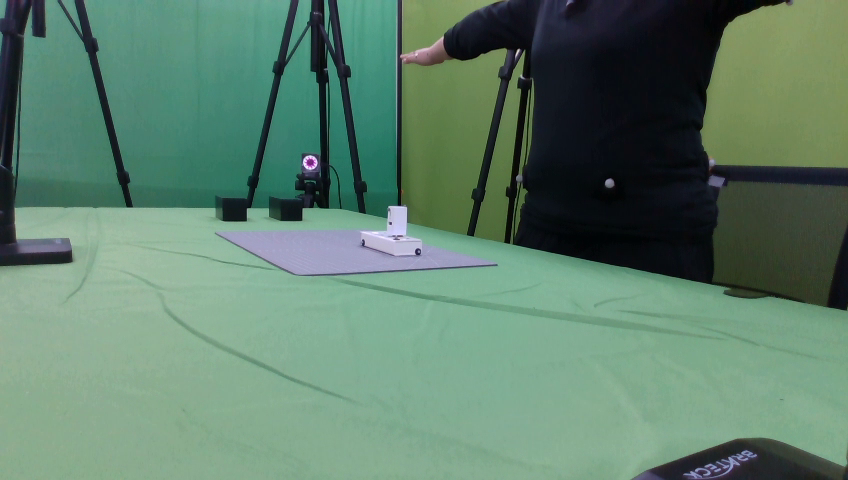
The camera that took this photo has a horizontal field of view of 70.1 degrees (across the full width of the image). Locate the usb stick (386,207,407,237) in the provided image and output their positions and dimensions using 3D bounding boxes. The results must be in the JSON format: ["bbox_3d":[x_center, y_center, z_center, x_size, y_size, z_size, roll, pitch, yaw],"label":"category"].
[{"bbox_3d":[-0.043,-0.022,0.938,0.027,0.059,0.021,-5,10,-34],"label":"usb stick"}]

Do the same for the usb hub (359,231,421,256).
[{"bbox_3d":[-0.056,0.004,0.954,0.050,0.025,0.124,-2,8,-31],"label":"usb hub"}]
